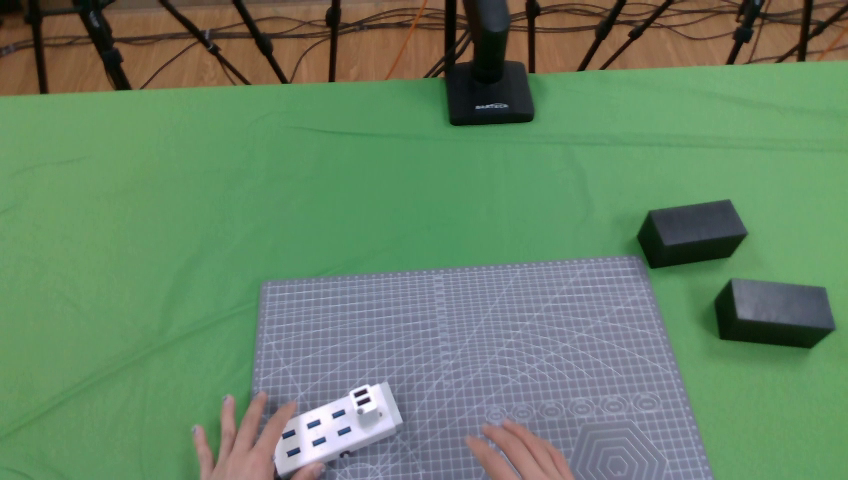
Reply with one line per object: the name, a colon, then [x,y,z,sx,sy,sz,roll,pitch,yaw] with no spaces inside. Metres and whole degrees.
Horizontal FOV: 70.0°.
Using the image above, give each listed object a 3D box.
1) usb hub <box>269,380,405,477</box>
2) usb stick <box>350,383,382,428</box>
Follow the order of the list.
usb hub: [-0.086,0.184,0.598,0.125,0.025,0.049,-19,58,-13]
usb stick: [-0.055,0.161,0.579,0.021,0.059,0.027,-22,57,-12]
